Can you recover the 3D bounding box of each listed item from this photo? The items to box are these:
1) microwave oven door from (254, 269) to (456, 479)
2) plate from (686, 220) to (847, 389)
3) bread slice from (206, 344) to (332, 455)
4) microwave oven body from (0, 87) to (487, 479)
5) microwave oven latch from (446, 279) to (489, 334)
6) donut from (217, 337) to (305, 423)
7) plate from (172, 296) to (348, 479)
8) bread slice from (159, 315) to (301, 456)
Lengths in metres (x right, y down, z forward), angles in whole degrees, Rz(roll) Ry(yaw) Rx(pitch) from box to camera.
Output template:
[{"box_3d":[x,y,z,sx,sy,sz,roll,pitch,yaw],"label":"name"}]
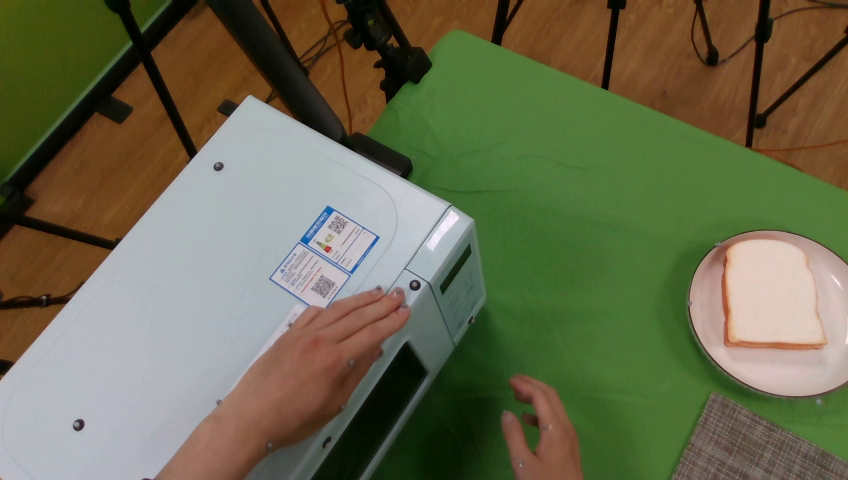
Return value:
[{"box_3d":[-0.090,0.212,0.620,0.039,0.246,0.355,30,75,20],"label":"microwave oven door"},{"box_3d":[0.423,0.077,0.730,0.207,0.039,0.206,-3,67,8],"label":"plate"},{"box_3d":[-0.191,0.195,0.730,0.132,0.019,0.104,-25,65,-30],"label":"bread slice"},{"box_3d":[-0.183,0.112,0.682,0.324,0.262,0.440,30,75,19],"label":"microwave oven body"},{"box_3d":[0.051,0.079,0.766,0.030,0.030,0.079,34,77,20],"label":"microwave oven latch"},{"box_3d":[-0.184,0.158,0.688,0.099,0.048,0.098,2,64,-3],"label":"donut"},{"box_3d":[-0.188,0.169,0.711,0.209,0.038,0.207,-2,70,6],"label":"plate"},{"box_3d":[-0.204,0.148,0.663,0.106,0.018,0.134,40,71,11],"label":"bread slice"}]
